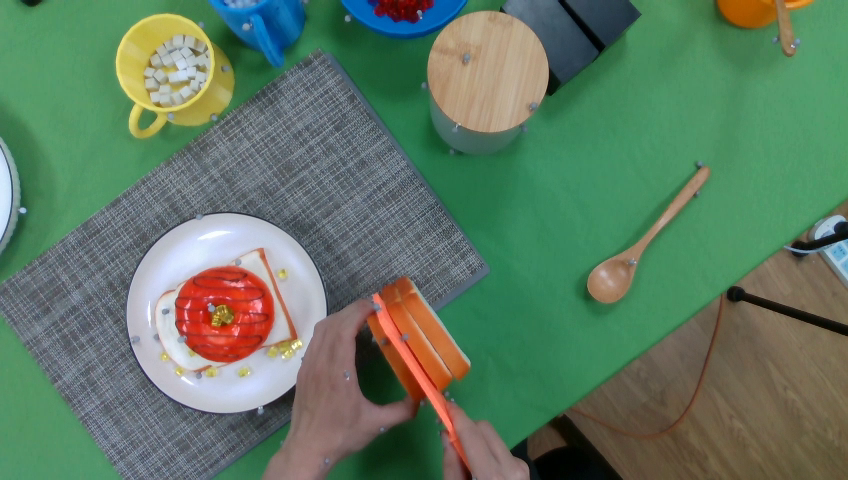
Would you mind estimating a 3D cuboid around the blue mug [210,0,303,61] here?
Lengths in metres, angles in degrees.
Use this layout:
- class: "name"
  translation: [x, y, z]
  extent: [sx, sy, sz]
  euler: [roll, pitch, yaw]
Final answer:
- class: "blue mug"
  translation: [-0.170, -0.240, 0.613]
  extent: [0.082, 0.106, 0.116]
  euler: [-16, 89, -1]

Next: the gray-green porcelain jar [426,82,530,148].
- class: "gray-green porcelain jar"
  translation: [0.055, -0.151, 0.603]
  extent: [0.106, 0.126, 0.105]
  euler: [0, 88, -1]

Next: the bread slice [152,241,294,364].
- class: "bread slice"
  translation: [-0.216, 0.074, 0.640]
  extent: [0.131, 0.019, 0.105]
  euler: [-24, 89, -5]

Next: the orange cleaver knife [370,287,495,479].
- class: "orange cleaver knife"
  translation: [0.009, 0.135, 0.540]
  extent: [0.012, 0.077, 0.212]
  euler: [-31, 98, 0]

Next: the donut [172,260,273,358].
- class: "donut"
  translation: [-0.202, 0.069, 0.609]
  extent: [0.099, 0.048, 0.099]
  euler: [0, 89, -4]

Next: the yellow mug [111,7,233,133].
- class: "yellow mug"
  translation: [-0.268, -0.168, 0.630]
  extent: [0.100, 0.064, 0.131]
  euler: [32, 90, 1]

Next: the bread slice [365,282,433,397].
- class: "bread slice"
  translation: [-0.023, 0.095, 0.597]
  extent: [0.018, 0.134, 0.107]
  euler: [-30, 90, 4]

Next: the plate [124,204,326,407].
- class: "plate"
  translation: [-0.204, 0.068, 0.637]
  extent: [0.209, 0.038, 0.209]
  euler: [0, 89, 0]

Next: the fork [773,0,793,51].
- class: "fork"
  translation: [0.341, -0.239, 0.595]
  extent: [0.028, 0.019, 0.206]
  euler: [25, 45, -6]

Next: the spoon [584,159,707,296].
- class: "spoon"
  translation: [0.244, -0.015, 0.654]
  extent: [0.041, 0.022, 0.193]
  euler: [42, 89, 19]

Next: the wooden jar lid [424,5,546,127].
- class: "wooden jar lid"
  translation: [0.054, -0.154, 0.540]
  extent: [0.108, 0.020, 0.108]
  euler: [0, 90, -4]

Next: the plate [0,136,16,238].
- class: "plate"
  translation: [-0.532, -0.055, 0.640]
  extent: [0.208, 0.039, 0.207]
  euler: [0, 89, -1]

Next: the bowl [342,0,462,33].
- class: "bowl"
  translation: [-0.022, -0.280, 0.628]
  extent: [0.151, 0.077, 0.151]
  euler: [0, 89, 0]
